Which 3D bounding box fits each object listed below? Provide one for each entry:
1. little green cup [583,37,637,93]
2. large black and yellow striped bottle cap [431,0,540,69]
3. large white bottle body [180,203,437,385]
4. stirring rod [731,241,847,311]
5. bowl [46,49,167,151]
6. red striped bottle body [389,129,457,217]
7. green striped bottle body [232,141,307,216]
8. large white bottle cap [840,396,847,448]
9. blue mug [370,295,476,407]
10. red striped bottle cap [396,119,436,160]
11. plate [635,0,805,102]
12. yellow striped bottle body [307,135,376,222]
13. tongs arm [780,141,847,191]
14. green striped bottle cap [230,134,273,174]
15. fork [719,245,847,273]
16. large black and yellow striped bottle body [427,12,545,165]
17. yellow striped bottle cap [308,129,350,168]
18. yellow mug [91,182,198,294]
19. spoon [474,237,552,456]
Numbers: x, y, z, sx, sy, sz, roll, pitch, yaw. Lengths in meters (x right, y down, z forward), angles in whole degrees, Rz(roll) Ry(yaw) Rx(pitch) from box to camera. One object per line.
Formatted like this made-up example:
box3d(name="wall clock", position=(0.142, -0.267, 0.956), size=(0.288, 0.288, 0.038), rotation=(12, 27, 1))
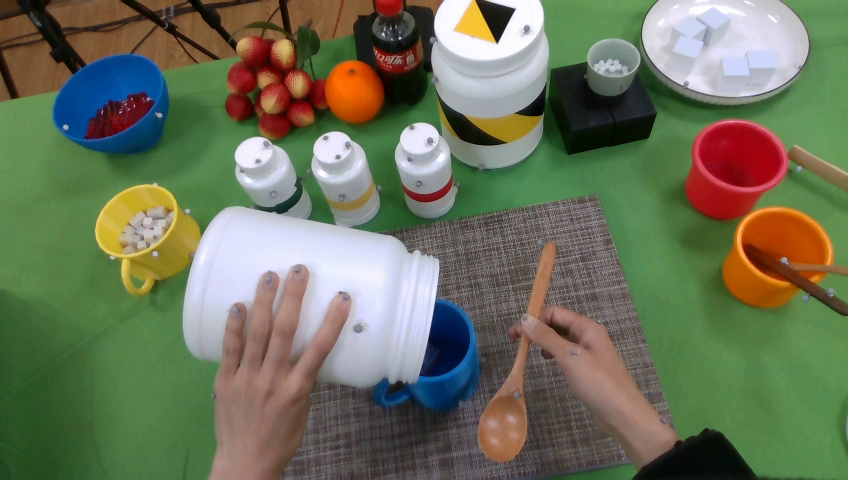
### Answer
box3d(name="little green cup", position=(0.221, -0.209, 0.730), size=(0.061, 0.039, 0.061), rotation=(-2, 59, 3))
box3d(name="large black and yellow striped bottle cap", position=(0.064, -0.229, 0.636), size=(0.115, 0.019, 0.114), rotation=(-4, 64, 8))
box3d(name="large white bottle body", position=(-0.089, 0.048, 0.507), size=(0.185, 0.131, 0.129), rotation=(11, 63, -4))
box3d(name="stirring rod", position=(0.351, 0.030, 0.591), size=(0.014, 0.006, 0.175), rotation=(-8, 19, 0))
box3d(name="bowl", position=(-0.412, -0.175, 0.821), size=(0.151, 0.077, 0.150), rotation=(-2, 62, 5))
box3d(name="red striped bottle body", position=(-0.002, -0.084, 0.703), size=(0.063, 0.121, 0.062), rotation=(-6, 59, 11))
box3d(name="green striped bottle body", position=(-0.183, -0.071, 0.716), size=(0.063, 0.120, 0.062), rotation=(-2, 62, 5))
box3d(name="large white bottle cap", position=(0.456, 0.182, 0.566), size=(0.115, 0.018, 0.114), rotation=(-3, 62, 5))
box3d(name="blue mug", position=(-0.004, 0.122, 0.597), size=(0.116, 0.107, 0.081), rotation=(-36, 63, -12))
box3d(name="red striped bottle cap", position=(-0.009, -0.109, 0.656), size=(0.044, 0.018, 0.044), rotation=(-1, 60, 2))
box3d(name="plate", position=(0.382, -0.259, 0.796), size=(0.209, 0.038, 0.207), rotation=(-3, 63, 5))
box3d(name="yellow striped bottle body", position=(-0.097, -0.077, 0.709), size=(0.063, 0.121, 0.062), rotation=(-3, 61, 6))
box3d(name="tongs arm", position=(0.574, -0.012, 0.645), size=(0.382, 0.027, 0.050), rotation=(39, 69, 22))
box3d(name="green striped bottle cap", position=(-0.191, -0.095, 0.670), size=(0.044, 0.020, 0.044), rotation=(-1, 62, 3))
box3d(name="fork", position=(0.381, 0.026, 0.582), size=(0.028, 0.019, 0.206), rotation=(-47, 23, -16))
box3d(name="large black and yellow striped bottle body", position=(0.073, -0.190, 0.713), size=(0.130, 0.185, 0.129), rotation=(-3, 62, 6))
box3d(name="yellow striped bottle cap", position=(-0.104, -0.101, 0.663), size=(0.044, 0.019, 0.044), rotation=(-1, 58, 1))
box3d(name="yellow mug", position=(-0.337, 0.002, 0.727), size=(0.100, 0.064, 0.130), rotation=(-1, 63, 6))
box3d(name="spoon", position=(0.085, 0.089, 0.525), size=(0.041, 0.022, 0.193), rotation=(15, 84, 14))
